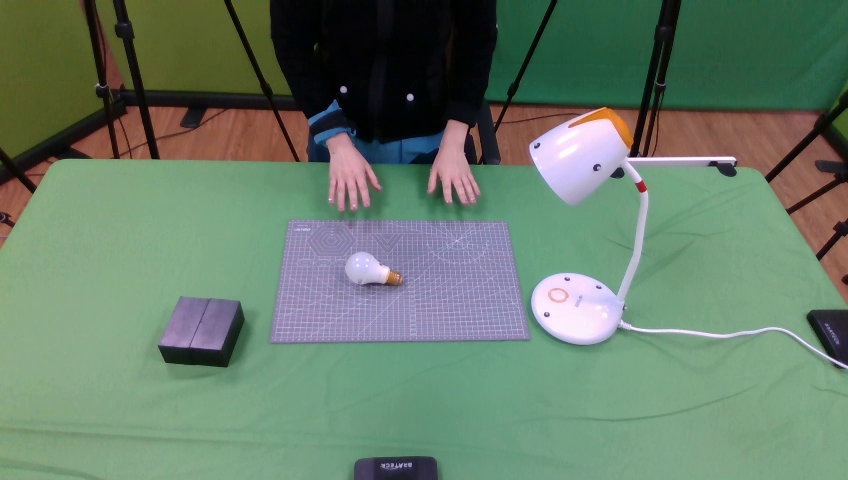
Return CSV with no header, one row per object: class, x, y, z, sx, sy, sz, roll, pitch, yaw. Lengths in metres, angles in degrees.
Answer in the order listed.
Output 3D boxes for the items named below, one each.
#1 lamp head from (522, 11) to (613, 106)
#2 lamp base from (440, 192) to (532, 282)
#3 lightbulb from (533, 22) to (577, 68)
lamp head,0.217,-0.250,0.887,0.112,0.123,0.111,-25,46,30
lamp base,0.127,-0.032,1.123,0.179,0.181,0.159,11,46,2
lightbulb,0.203,-0.267,0.874,0.108,0.059,0.059,35,36,-31
